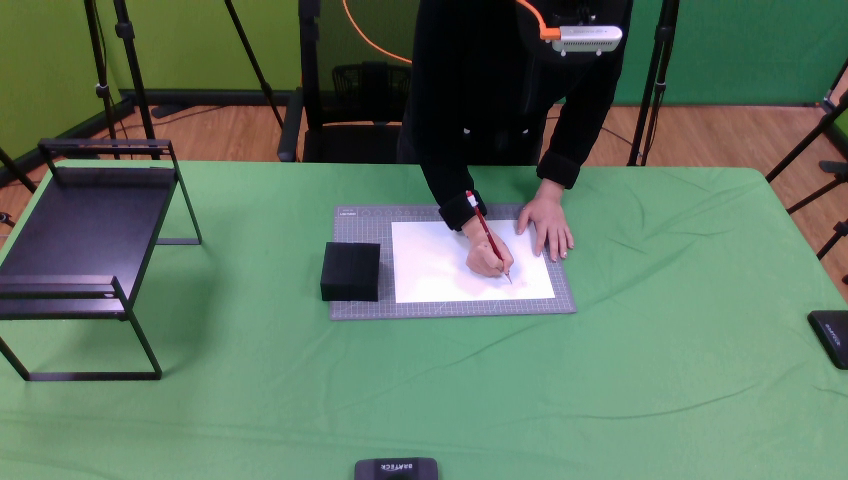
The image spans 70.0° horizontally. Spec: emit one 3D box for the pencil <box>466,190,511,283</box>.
[{"bbox_3d":[0.121,-0.004,1.122,0.012,0.194,0.012,-25,11,5],"label":"pencil"}]
